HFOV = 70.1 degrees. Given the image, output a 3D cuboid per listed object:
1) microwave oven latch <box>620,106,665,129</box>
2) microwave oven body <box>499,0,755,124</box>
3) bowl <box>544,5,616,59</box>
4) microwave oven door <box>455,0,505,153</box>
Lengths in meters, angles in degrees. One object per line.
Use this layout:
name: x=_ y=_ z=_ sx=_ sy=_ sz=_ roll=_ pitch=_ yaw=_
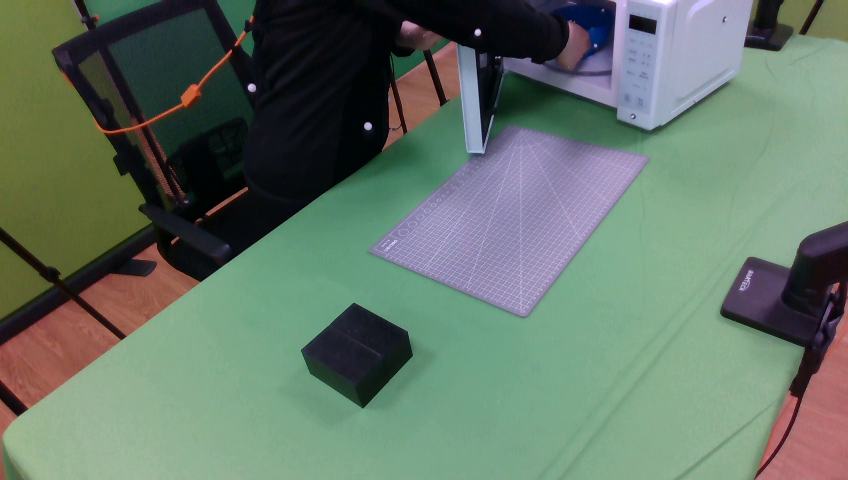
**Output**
microwave oven latch: x=0.413 y=-0.237 z=1.146 sx=0.030 sy=0.029 sz=0.078 roll=-32 pitch=44 yaw=-23
microwave oven body: x=0.402 y=-0.458 z=1.259 sx=0.327 sy=0.261 sz=0.437 roll=-33 pitch=45 yaw=-24
bowl: x=0.331 y=-0.441 z=1.301 sx=0.151 sy=0.077 sz=0.150 roll=-3 pitch=40 yaw=3
microwave oven door: x=0.118 y=-0.373 z=1.206 sx=0.039 sy=0.245 sz=0.355 roll=2 pitch=42 yaw=14
